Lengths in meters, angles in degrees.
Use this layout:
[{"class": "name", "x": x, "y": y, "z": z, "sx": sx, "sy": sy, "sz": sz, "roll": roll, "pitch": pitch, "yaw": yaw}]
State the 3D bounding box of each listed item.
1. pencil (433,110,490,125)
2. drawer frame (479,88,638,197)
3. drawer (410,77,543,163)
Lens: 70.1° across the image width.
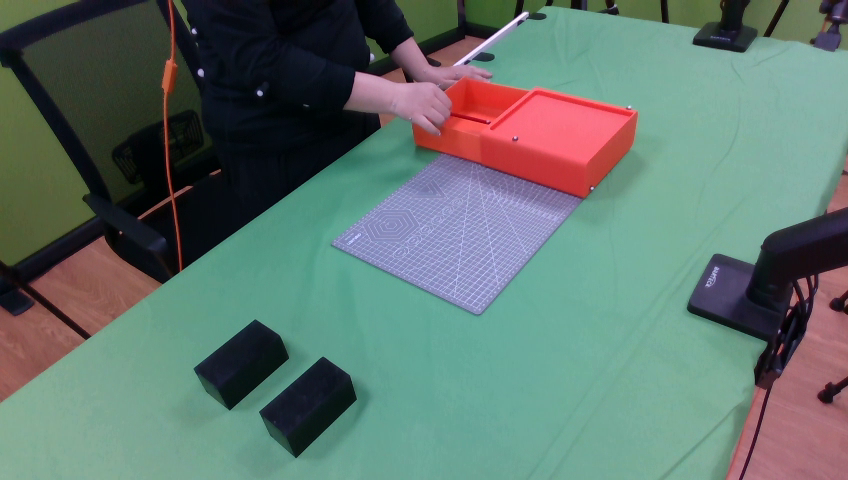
[{"class": "pencil", "x": 0.111, "y": -0.223, "z": 1.149, "sx": 0.194, "sy": 0.012, "sz": 0.012, "roll": 13, "pitch": 41, "yaw": -4}, {"class": "drawer frame", "x": 0.243, "y": -0.184, "z": 1.100, "sx": 0.212, "sy": 0.083, "sz": 0.202, "roll": 23, "pitch": 48, "yaw": 30}, {"class": "drawer", "x": 0.113, "y": -0.236, "z": 1.186, "sx": 0.210, "sy": 0.073, "sz": 0.195, "roll": 21, "pitch": 46, "yaw": 32}]
